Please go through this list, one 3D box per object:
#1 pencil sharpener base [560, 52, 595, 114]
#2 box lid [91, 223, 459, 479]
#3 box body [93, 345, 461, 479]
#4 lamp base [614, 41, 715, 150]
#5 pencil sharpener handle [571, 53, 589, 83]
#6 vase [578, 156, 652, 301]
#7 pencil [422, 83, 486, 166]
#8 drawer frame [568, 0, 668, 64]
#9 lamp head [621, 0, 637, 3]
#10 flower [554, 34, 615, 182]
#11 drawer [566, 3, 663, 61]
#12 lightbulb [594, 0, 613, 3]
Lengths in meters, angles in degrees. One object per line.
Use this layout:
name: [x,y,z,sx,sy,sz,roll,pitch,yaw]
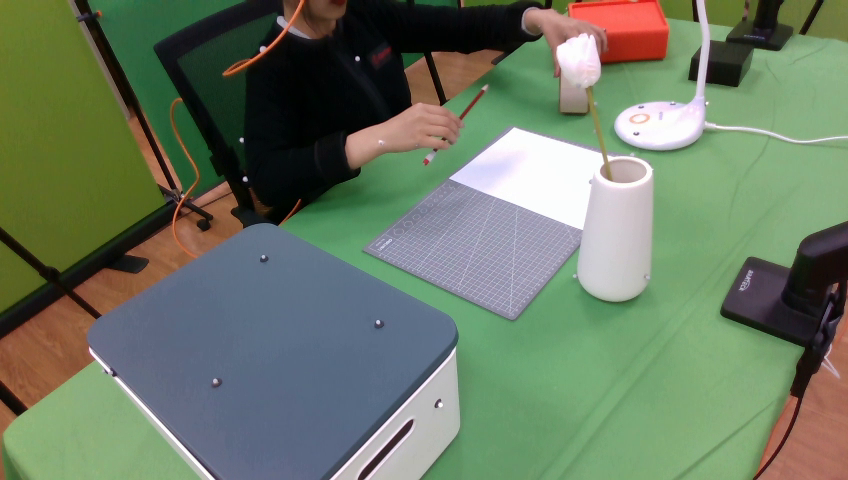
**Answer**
pencil sharpener base: [0.313,-0.322,1.232,0.061,0.107,0.076,5,40,18]
box lid: [-0.174,0.102,0.666,0.368,0.015,0.264,24,49,35]
box body: [-0.162,0.170,0.708,0.361,0.161,0.255,25,50,34]
lamp base: [0.449,-0.277,1.106,0.179,0.181,0.160,1,41,9]
pencil sharpener handle: [0.328,-0.363,1.261,0.036,0.068,0.030,0,38,21]
vase: [0.261,-0.011,0.812,0.098,0.201,0.097,-4,40,4]
pencil: [0.055,-0.207,1.065,0.012,0.012,0.194,27,75,35]
drawer frame: [0.450,-0.496,1.441,0.213,0.083,0.201,-1,40,9]
lamp head: [0.319,-0.453,0.962,0.113,0.123,0.112,20,33,-13]
flower: [0.237,-0.083,0.774,0.044,0.363,0.038,-22,26,6]
drawer: [0.447,-0.493,1.440,0.211,0.073,0.194,0,40,10]
lightbulb: [0.305,-0.437,0.977,0.060,0.107,0.059,12,44,-11]
